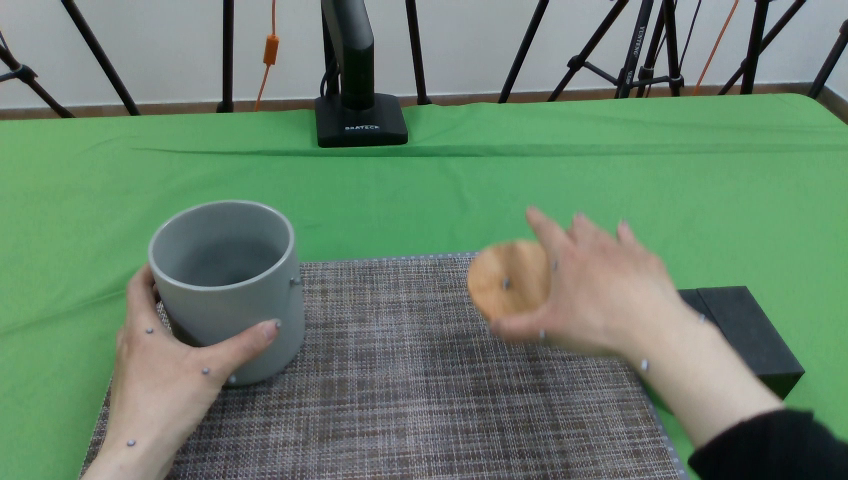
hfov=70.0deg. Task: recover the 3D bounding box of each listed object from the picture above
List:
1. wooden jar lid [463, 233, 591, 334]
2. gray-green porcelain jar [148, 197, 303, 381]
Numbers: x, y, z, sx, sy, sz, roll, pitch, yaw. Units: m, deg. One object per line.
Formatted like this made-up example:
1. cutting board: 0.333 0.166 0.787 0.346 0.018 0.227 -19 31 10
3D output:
1. wooden jar lid: 0.086 0.037 0.512 0.108 0.021 0.107 5 45 -5
2. gray-green porcelain jar: -0.155 0.045 0.497 0.106 0.127 0.105 3 41 -2
